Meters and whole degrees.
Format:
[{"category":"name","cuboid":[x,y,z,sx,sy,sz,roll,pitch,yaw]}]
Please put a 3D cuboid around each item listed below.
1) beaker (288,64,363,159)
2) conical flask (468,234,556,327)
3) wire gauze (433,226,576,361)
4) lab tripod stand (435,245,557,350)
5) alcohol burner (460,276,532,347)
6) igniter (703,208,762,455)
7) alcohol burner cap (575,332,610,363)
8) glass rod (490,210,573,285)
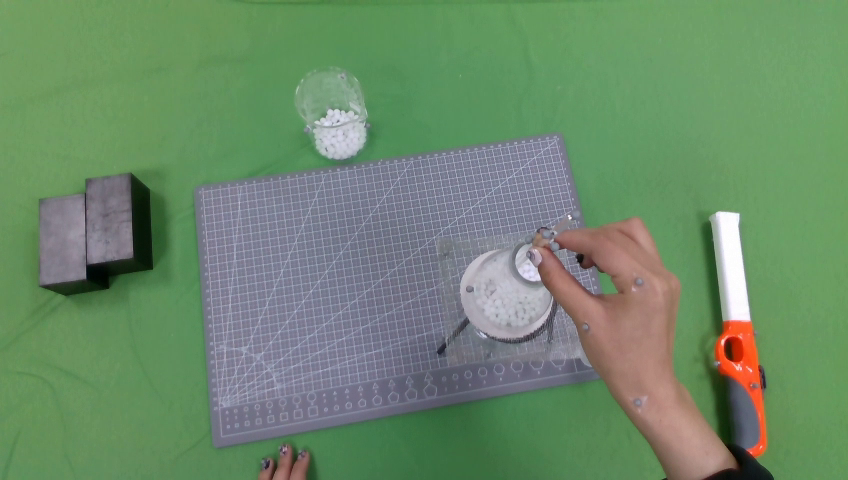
[{"category":"beaker","cuboid":[-0.106,-0.142,0.699,0.084,0.100,0.074,26,76,5]},{"category":"conical flask","cuboid":[0.079,0.029,0.506,0.075,0.122,0.075,1,76,-2]},{"category":"wire gauze","cuboid":[0.075,0.049,0.562,0.125,0.011,0.121,-3,77,-4]},{"category":"lab tripod stand","cuboid":[0.076,0.068,0.625,0.148,0.132,0.147,0,76,-1]},{"category":"alcohol burner","cuboid":[0.077,0.072,0.634,0.078,0.119,0.077,0,74,1]},{"category":"igniter","cuboid":[0.346,0.097,0.682,0.057,0.025,0.275,4,74,-11]},{"category":"alcohol burner cap","cuboid":[0.186,0.116,0.662,0.034,0.048,0.033,0,74,-1]},{"category":"glass rod","cuboid":[0.075,0.011,0.459,0.008,0.200,0.008,2,74,-7]}]
